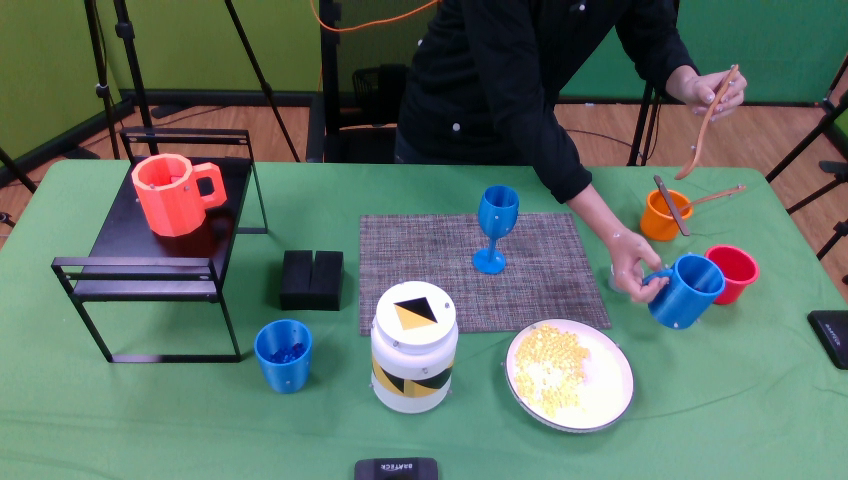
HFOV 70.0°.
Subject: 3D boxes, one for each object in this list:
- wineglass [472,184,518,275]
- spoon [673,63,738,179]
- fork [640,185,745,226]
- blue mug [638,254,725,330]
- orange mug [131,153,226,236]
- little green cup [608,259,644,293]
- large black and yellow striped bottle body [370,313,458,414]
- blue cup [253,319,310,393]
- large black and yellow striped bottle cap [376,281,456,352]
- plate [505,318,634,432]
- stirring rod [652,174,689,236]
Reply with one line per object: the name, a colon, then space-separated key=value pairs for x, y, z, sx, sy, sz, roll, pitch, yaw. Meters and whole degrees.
wineglass: x=0.129 y=-0.018 z=1.113 sx=0.074 sy=0.173 sz=0.073 roll=2 pitch=46 yaw=-2
spoon: x=0.443 y=-0.184 z=0.953 sx=0.021 sy=0.194 sz=0.041 roll=21 pitch=15 yaw=8
fork: x=0.534 y=-0.069 z=1.215 sx=0.207 sy=0.019 sz=0.028 roll=-26 pitch=28 yaw=33
blue mug: x=0.413 y=0.084 z=0.999 sx=0.116 sy=0.106 sz=0.082 roll=11 pitch=50 yaw=-1
orange mug: x=-0.375 y=-0.075 z=0.937 sx=0.126 sy=0.101 sz=0.083 roll=-20 pitch=50 yaw=-17
little green cup: x=0.379 y=0.070 z=1.147 sx=0.061 sy=0.039 sz=0.061 roll=3 pitch=45 yaw=-2
large black and yellow striped bottle body: x=-0.017 y=0.165 z=0.924 sx=0.131 sy=0.185 sz=0.130 roll=2 pitch=46 yaw=-2
blue cup: x=-0.217 y=0.187 z=0.943 sx=0.093 sy=0.101 sz=0.092 roll=4 pitch=45 yaw=-3
large black and yellow striped bottle cap: x=-0.011 y=0.107 z=0.863 sx=0.115 sy=0.019 sz=0.114 roll=2 pitch=47 yaw=-2
plate: x=0.235 y=0.221 z=0.991 sx=0.209 sy=0.038 sz=0.208 roll=2 pitch=45 yaw=-2
stirring rod: x=0.491 y=-0.072 z=1.211 sx=0.014 sy=0.006 sz=0.175 roll=0 pitch=47 yaw=-6
